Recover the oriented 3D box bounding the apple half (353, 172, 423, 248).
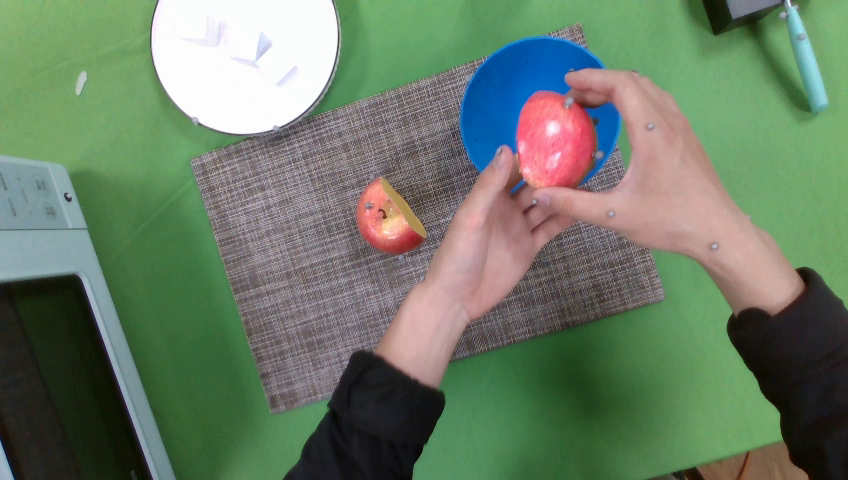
[{"bbox_3d":[-0.043,-0.024,0.626,0.053,0.074,0.081,-37,92,10],"label":"apple half"}]

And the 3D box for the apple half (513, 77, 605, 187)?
[{"bbox_3d":[0.104,-0.076,0.439,0.081,0.032,0.081,-4,99,-26],"label":"apple half"}]

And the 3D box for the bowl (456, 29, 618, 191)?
[{"bbox_3d":[0.109,-0.122,0.602,0.151,0.077,0.151,0,93,6],"label":"bowl"}]

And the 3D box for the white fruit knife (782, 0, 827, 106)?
[{"bbox_3d":[0.344,-0.219,0.572,0.016,0.027,0.208,-22,108,24],"label":"white fruit knife"}]

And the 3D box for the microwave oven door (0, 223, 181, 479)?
[{"bbox_3d":[-0.348,0.158,0.568,0.039,0.244,0.355,-20,91,7],"label":"microwave oven door"}]

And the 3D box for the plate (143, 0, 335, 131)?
[{"bbox_3d":[-0.195,-0.219,0.652,0.207,0.039,0.207,0,93,5],"label":"plate"}]

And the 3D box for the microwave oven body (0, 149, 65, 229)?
[{"bbox_3d":[-0.499,0.166,0.589,0.326,0.260,0.441,-19,91,6],"label":"microwave oven body"}]

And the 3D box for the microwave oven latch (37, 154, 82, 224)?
[{"bbox_3d":[-0.407,-0.054,0.665,0.030,0.029,0.079,-19,92,6],"label":"microwave oven latch"}]
